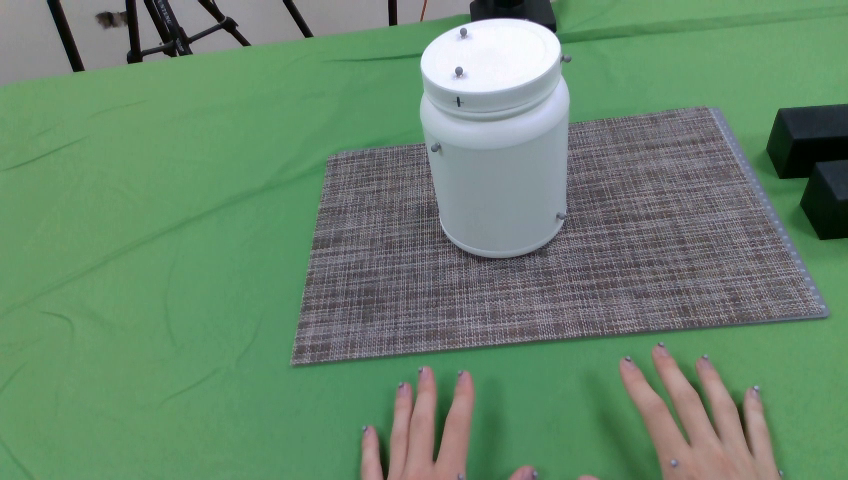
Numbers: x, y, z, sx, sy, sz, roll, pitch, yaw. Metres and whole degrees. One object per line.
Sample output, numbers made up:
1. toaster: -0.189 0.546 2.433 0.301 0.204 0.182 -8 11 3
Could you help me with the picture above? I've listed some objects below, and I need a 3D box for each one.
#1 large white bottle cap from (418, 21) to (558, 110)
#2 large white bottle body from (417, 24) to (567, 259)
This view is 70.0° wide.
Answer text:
1. large white bottle cap: 0.052 -0.146 0.498 0.115 0.018 0.113 -5 46 6
2. large white bottle body: 0.065 -0.087 0.558 0.130 0.186 0.129 -6 46 6
